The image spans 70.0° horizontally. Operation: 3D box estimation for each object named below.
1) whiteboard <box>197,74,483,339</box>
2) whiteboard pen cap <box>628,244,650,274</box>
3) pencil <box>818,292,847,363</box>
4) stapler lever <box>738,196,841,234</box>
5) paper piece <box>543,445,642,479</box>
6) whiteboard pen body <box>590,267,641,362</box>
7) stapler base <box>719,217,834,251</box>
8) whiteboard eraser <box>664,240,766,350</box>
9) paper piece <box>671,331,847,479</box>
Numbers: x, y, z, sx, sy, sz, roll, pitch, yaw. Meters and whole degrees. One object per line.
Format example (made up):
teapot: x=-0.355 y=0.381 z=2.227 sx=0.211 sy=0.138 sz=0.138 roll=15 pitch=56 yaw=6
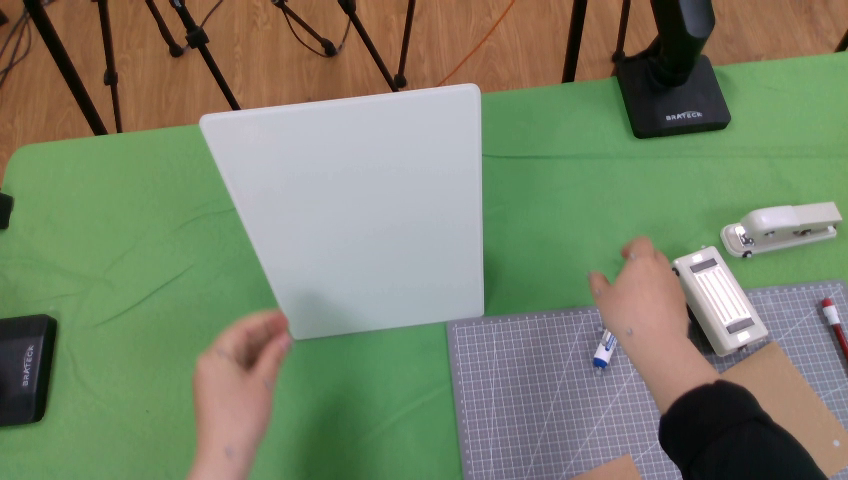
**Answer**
whiteboard: x=-0.058 y=-0.056 z=0.612 sx=0.217 sy=0.308 sz=0.142 roll=-6 pitch=47 yaw=0
whiteboard pen cap: x=0.243 y=0.022 z=0.686 sx=0.018 sy=0.018 sz=0.033 roll=23 pitch=67 yaw=12
pencil: x=0.452 y=0.145 z=0.629 sx=0.012 sy=0.012 sz=0.192 roll=-10 pitch=69 yaw=-1
stapler lever: x=0.410 y=-0.030 z=0.676 sx=0.118 sy=0.040 sz=0.026 roll=-12 pitch=69 yaw=-3
paper piece: x=0.166 y=0.287 z=0.583 sx=0.135 sy=0.004 sz=0.134 roll=-20 pitch=68 yaw=-6
whiteboard pen body: x=0.216 y=0.070 z=0.667 sx=0.017 sy=0.017 sz=0.140 roll=25 pitch=71 yaw=13
stapler base: x=0.409 y=-0.020 z=0.698 sx=0.131 sy=0.024 sz=0.041 roll=-11 pitch=70 yaw=-4
whiteboard eraser: x=0.311 y=0.059 z=0.655 sx=0.055 sy=0.042 sz=0.111 roll=-21 pitch=67 yaw=-5
paper piece: x=0.348 y=0.184 z=0.619 sx=0.136 sy=0.009 sz=0.137 roll=-29 pitch=71 yaw=-5
